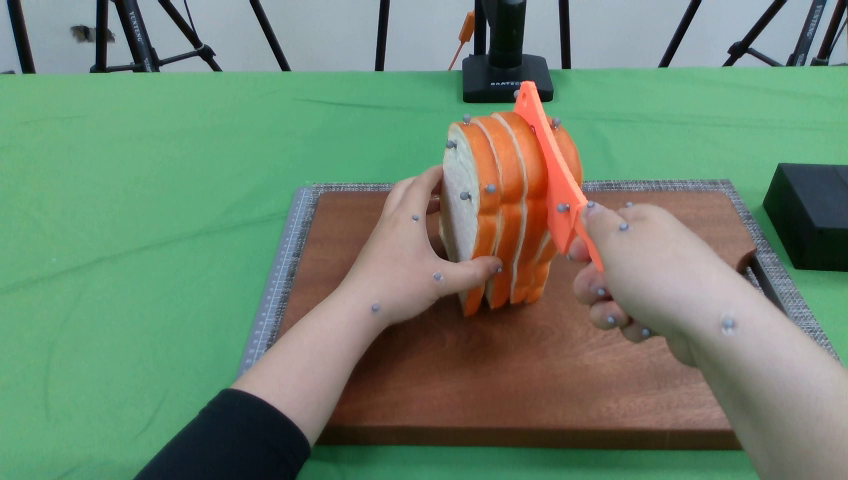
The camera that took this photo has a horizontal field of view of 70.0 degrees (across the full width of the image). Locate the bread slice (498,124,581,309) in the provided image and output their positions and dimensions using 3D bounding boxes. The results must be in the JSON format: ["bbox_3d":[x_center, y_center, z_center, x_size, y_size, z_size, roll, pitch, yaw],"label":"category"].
[{"bbox_3d":[0.089,-0.025,0.484,0.019,0.132,0.103,-6,42,-15],"label":"bread slice"}]

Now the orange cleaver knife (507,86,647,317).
[{"bbox_3d":[0.092,-0.024,0.409,0.012,0.078,0.209,-9,49,-9],"label":"orange cleaver knife"}]

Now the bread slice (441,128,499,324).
[{"bbox_3d":[0.035,-0.019,0.477,0.018,0.135,0.106,-8,38,-11],"label":"bread slice"}]
